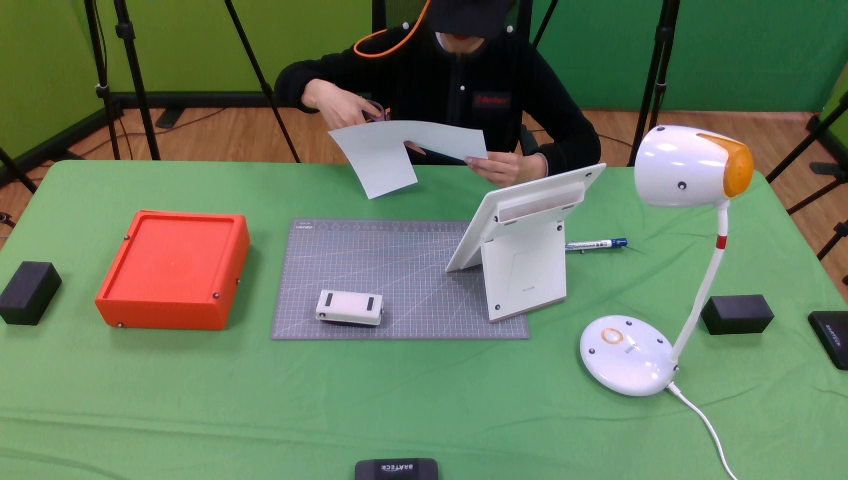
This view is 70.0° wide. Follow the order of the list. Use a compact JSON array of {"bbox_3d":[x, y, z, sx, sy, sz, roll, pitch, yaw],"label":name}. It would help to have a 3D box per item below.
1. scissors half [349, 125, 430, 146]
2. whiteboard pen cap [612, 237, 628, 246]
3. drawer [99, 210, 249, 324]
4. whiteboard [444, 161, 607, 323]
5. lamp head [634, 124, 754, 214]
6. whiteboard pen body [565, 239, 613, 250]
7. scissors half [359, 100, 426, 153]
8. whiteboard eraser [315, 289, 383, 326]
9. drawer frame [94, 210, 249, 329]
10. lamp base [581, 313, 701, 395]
[{"bbox_3d":[-0.071,-0.209,1.239,0.175,0.040,0.013,7,10,15],"label":"scissors half"},{"bbox_3d":[0.390,0.004,1.215,0.033,0.018,0.018,-7,47,-2],"label":"whiteboard pen cap"},{"bbox_3d":[-0.435,0.044,1.081,0.194,0.073,0.210,3,47,-2],"label":"drawer"},{"bbox_3d":[0.186,0.025,1.029,0.217,0.306,0.143,-14,68,-18],"label":"whiteboard"},{"bbox_3d":[0.351,-0.089,0.776,0.112,0.113,0.122,-30,30,-28],"label":"lamp head"},{"bbox_3d":[0.331,0.008,1.211,0.141,0.017,0.017,-5,47,-4],"label":"whiteboard pen body"},{"bbox_3d":[-0.062,-0.230,1.235,0.175,0.040,0.013,41,12,9],"label":"scissors half"},{"bbox_3d":[-0.130,0.119,1.054,0.113,0.042,0.055,6,47,1],"label":"whiteboard eraser"},{"bbox_3d":[-0.434,0.048,1.076,0.202,0.083,0.212,2,47,-3],"label":"drawer frame"},{"bbox_3d":[0.361,0.144,0.972,0.178,0.181,0.160,34,53,23],"label":"lamp base"}]
